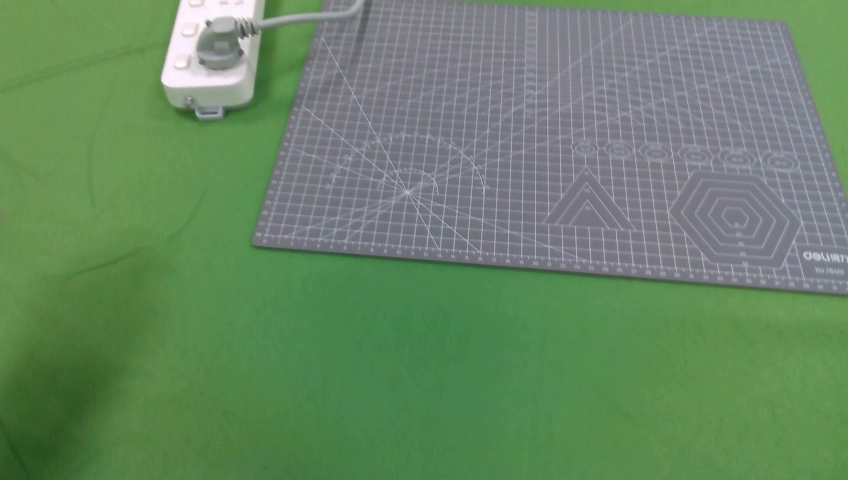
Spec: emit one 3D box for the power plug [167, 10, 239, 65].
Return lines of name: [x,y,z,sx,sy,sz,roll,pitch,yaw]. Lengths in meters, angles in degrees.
power plug: [-0.170,-0.171,0.486,0.035,0.073,0.052,18,73,-1]

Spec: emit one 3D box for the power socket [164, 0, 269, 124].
power socket: [-0.187,-0.202,0.565,0.072,0.033,0.224,-2,57,-2]
